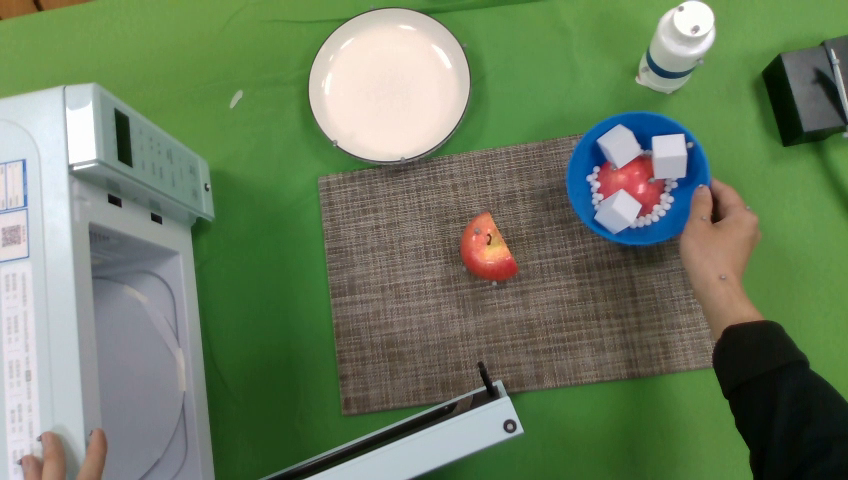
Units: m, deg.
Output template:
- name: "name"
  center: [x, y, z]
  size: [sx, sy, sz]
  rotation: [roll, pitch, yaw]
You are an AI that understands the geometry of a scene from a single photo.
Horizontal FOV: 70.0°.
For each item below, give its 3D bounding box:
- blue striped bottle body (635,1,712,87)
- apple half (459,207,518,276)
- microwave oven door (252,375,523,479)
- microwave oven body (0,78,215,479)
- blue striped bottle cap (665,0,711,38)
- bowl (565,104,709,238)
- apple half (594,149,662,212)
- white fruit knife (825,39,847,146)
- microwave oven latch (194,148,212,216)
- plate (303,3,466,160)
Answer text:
- name: "blue striped bottle body"
  center: [0.291, -0.232, 0.705]
  size: [0.063, 0.121, 0.063]
  rotation: [-1, 80, 6]
- name: "apple half"
  center: [0.069, 0.008, 0.707]
  size: [0.053, 0.075, 0.080]
  rotation: [-29, 82, 4]
- name: "microwave oven door"
  center: [-0.078, 0.220, 0.586]
  size: [0.356, 0.245, 0.039]
  rotation: [-23, 78, 1]
- name: "microwave oven body"
  center: [-0.412, 0.109, 0.641]
  size: [0.326, 0.261, 0.440]
  rotation: [-11, 80, 3]
- name: "blue striped bottle cap"
  center: [0.286, -0.242, 0.655]
  size: [0.044, 0.021, 0.044]
  rotation: [-1, 83, 5]
- name: "bowl"
  center: [0.236, -0.071, 0.696]
  size: [0.151, 0.077, 0.151]
  rotation: [-1, 83, 9]
- name: "apple half"
  center: [0.235, -0.071, 0.691]
  size: [0.081, 0.033, 0.081]
  rotation: [-1, 82, 9]
- name: "white fruit knife"
  center: [0.483, -0.127, 0.687]
  size: [0.016, 0.027, 0.207]
  rotation: [-17, 96, 20]
- name: "microwave oven latch"
  center: [-0.286, -0.072, 0.757]
  size: [0.030, 0.029, 0.079]
  rotation: [-10, 80, 3]
- name: "plate"
  center: [-0.049, -0.198, 0.775]
  size: [0.207, 0.039, 0.207]
  rotation: [-1, 81, 5]
